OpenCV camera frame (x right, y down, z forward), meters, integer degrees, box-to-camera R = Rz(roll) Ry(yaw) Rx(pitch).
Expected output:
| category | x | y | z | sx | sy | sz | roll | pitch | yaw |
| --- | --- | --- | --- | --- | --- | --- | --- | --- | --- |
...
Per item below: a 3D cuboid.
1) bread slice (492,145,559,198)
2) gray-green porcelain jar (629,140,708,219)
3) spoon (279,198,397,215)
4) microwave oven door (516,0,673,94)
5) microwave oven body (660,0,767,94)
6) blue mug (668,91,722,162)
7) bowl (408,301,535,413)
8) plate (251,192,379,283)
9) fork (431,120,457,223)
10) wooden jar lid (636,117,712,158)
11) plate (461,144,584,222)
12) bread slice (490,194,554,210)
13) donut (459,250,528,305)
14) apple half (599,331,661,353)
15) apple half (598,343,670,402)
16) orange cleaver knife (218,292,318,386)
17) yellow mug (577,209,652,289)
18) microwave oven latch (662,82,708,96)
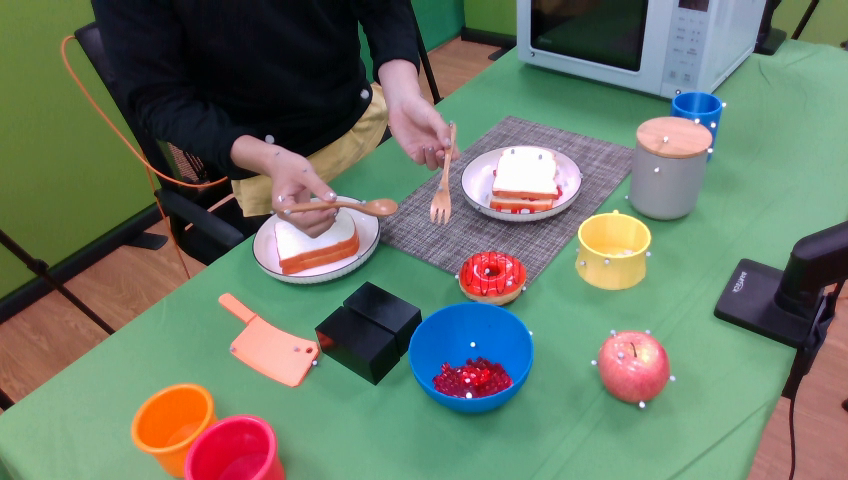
| category | x | y | z | sx | sy | sz | roll | pitch | yaw |
| --- | --- | --- | --- | --- | --- | --- | --- | --- | --- |
| bread slice | 0.172 | -0.118 | 1.027 | 0.107 | 0.018 | 0.134 | 3 | 43 | 7 |
| gray-green porcelain jar | 0.383 | -0.105 | 0.958 | 0.106 | 0.127 | 0.105 | -4 | 41 | 4 |
| spoon | -0.108 | -0.045 | 0.787 | 0.041 | 0.021 | 0.195 | 37 | 23 | 32 |
| microwave oven door | 0.344 | -0.458 | 1.256 | 0.353 | 0.245 | 0.039 | 26 | 52 | 33 |
| microwave oven body | 0.473 | -0.517 | 1.313 | 0.438 | 0.261 | 0.327 | 26 | 51 | 34 |
| blue mug | 0.474 | -0.206 | 1.079 | 0.082 | 0.106 | 0.116 | 4 | 42 | 13 |
| bowl | 0.060 | 0.156 | 0.739 | 0.151 | 0.077 | 0.150 | -4 | 40 | 4 |
| plate | -0.174 | -0.001 | 0.985 | 0.209 | 0.038 | 0.208 | -4 | 41 | 4 |
| fork | 0.032 | -0.101 | 0.849 | 0.028 | 0.019 | 0.206 | 5 | 54 | 5 |
| wooden jar lid | 0.377 | -0.151 | 0.917 | 0.108 | 0.021 | 0.108 | -2 | 41 | 2 |
| plate | 0.167 | -0.095 | 1.040 | 0.207 | 0.039 | 0.206 | -4 | 41 | 4 |
| bread slice | 0.173 | -0.099 | 1.047 | 0.104 | 0.019 | 0.131 | 2 | 43 | 12 |
| donut | 0.100 | 0.053 | 0.873 | 0.099 | 0.048 | 0.098 | -5 | 40 | 4 |
| apple half | 0.249 | 0.134 | 0.738 | 0.081 | 0.081 | 0.032 | -1 | 46 | 7 |
| apple half | 0.247 | 0.161 | 0.710 | 0.081 | 0.075 | 0.053 | 2 | 47 | 5 |
| orange cleaver knife | -0.235 | 0.136 | 0.850 | 0.209 | 0.012 | 0.077 | 25 | 57 | 30 |
| yellow mug | 0.279 | 0.005 | 0.893 | 0.099 | 0.064 | 0.130 | 5 | 41 | 15 |
| microwave oven latch | 0.518 | -0.299 | 1.203 | 0.078 | 0.029 | 0.030 | 29 | 53 | 35 |
